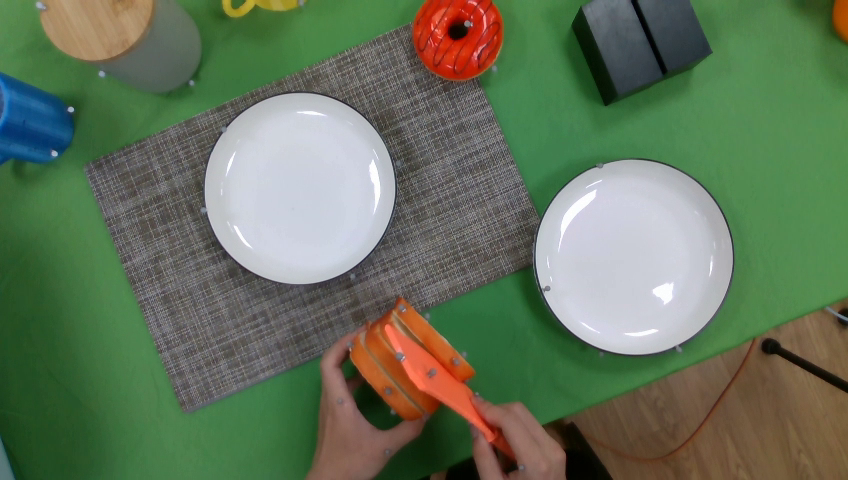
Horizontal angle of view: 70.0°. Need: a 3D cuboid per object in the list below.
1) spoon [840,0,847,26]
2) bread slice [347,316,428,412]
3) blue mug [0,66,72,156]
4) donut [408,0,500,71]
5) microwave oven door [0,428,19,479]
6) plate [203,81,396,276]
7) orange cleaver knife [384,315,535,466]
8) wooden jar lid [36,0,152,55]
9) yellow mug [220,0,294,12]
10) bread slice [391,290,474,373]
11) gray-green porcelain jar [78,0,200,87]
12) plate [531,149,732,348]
[{"bbox_3d":[0.512,-0.272,0.587,0.022,0.193,0.041,-25,87,-43],"label":"spoon"},{"bbox_3d":[-0.038,0.125,0.611,0.019,0.131,0.105,-43,89,1],"label":"bread slice"},{"bbox_3d":[-0.454,-0.125,0.639,0.082,0.106,0.116,41,91,3],"label":"blue mug"},{"bbox_3d":[0.033,-0.230,0.650,0.099,0.048,0.099,0,90,1],"label":"donut"},{"bbox_3d":[-0.494,0.196,0.553,0.039,0.244,0.355,-20,89,2],"label":"microwave oven door"},{"bbox_3d":[-0.132,-0.065,0.659,0.207,0.039,0.207,0,90,2],"label":"plate"},{"bbox_3d":[0.035,0.138,0.541,0.012,0.076,0.213,-38,124,9],"label":"orange cleaver knife"},{"bbox_3d":[-0.303,-0.223,0.563,0.108,0.021,0.108,0,88,3],"label":"wooden jar lid"},{"bbox_3d":[-0.177,-0.303,0.651,0.100,0.064,0.131,35,92,2],"label":"yellow mug"},{"bbox_3d":[0.008,0.094,0.608,0.107,0.134,0.018,45,84,-2],"label":"bread slice"},{"bbox_3d":[-0.301,-0.222,0.625,0.106,0.126,0.106,0,89,2],"label":"gray-green porcelain jar"},{"bbox_3d":[0.217,0.009,0.650,0.209,0.038,0.209,0,90,2],"label":"plate"}]
